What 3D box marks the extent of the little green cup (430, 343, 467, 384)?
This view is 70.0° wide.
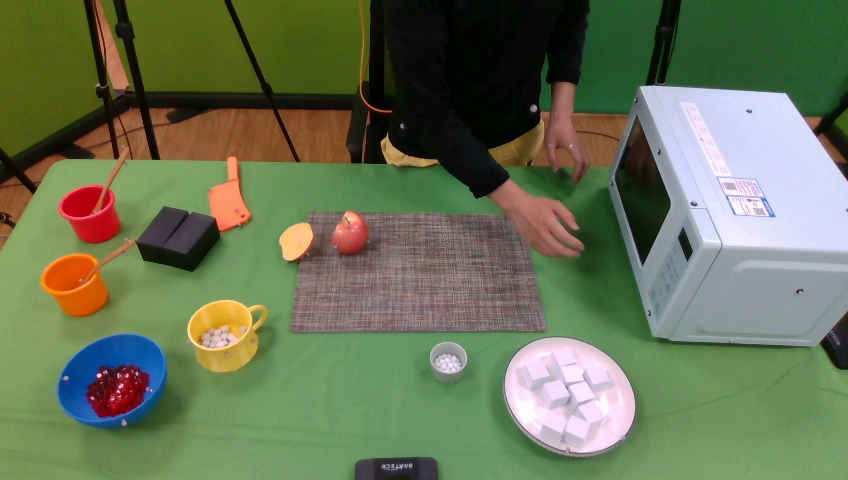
[{"bbox_3d":[0.039,0.203,0.993,0.061,0.039,0.061,2,46,-2],"label":"little green cup"}]

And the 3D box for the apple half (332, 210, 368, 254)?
[{"bbox_3d":[-0.136,-0.010,1.158,0.053,0.075,0.080,17,43,8],"label":"apple half"}]

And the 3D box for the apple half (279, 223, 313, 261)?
[{"bbox_3d":[-0.237,0.007,1.157,0.081,0.033,0.081,-14,58,23],"label":"apple half"}]

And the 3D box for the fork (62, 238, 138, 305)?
[{"bbox_3d":[-0.547,0.053,1.018,0.207,0.019,0.028,-36,41,23],"label":"fork"}]

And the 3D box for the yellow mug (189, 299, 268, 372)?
[{"bbox_3d":[-0.316,0.148,1.002,0.131,0.064,0.099,-32,56,-31],"label":"yellow mug"}]

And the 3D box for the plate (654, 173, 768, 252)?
[{"bbox_3d":[0.556,-0.050,1.187,0.209,0.038,0.208,1,47,-1],"label":"plate"}]

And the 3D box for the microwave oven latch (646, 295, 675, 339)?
[{"bbox_3d":[0.412,0.134,1.061,0.030,0.029,0.078,4,45,1],"label":"microwave oven latch"}]

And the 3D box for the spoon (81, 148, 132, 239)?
[{"bbox_3d":[-0.603,-0.089,1.156,0.041,0.022,0.193,28,95,20],"label":"spoon"}]

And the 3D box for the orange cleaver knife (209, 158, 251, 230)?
[{"bbox_3d":[-0.409,-0.099,1.266,0.077,0.012,0.210,-14,49,-10],"label":"orange cleaver knife"}]

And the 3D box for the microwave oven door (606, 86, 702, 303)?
[{"bbox_3d":[0.422,-0.094,1.140,0.039,0.245,0.353,3,46,-1],"label":"microwave oven door"}]

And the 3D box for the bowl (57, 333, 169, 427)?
[{"bbox_3d":[-0.456,0.223,0.912,0.151,0.077,0.150,3,45,-2],"label":"bowl"}]

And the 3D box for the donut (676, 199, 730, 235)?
[{"bbox_3d":[0.538,-0.046,1.170,0.099,0.048,0.098,3,34,-2],"label":"donut"}]

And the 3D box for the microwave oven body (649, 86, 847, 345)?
[{"bbox_3d":[0.567,-0.053,1.118,0.326,0.261,0.439,2,45,-1],"label":"microwave oven body"}]

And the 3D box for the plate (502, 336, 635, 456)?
[{"bbox_3d":[0.225,0.248,0.964,0.208,0.039,0.206,2,46,-2],"label":"plate"}]
